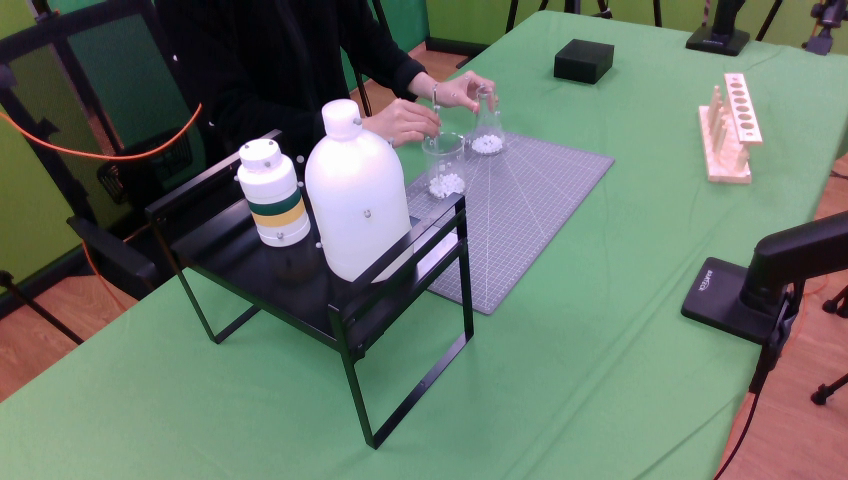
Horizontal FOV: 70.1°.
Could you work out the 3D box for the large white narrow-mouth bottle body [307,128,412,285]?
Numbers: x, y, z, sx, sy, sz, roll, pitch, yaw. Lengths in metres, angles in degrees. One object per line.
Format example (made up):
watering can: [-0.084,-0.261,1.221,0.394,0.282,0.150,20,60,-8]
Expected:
large white narrow-mouth bottle body: [-0.070,-0.051,0.638,0.102,0.195,0.101,-3,40,3]

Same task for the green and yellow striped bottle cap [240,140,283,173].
green and yellow striped bottle cap: [-0.183,-0.094,0.679,0.045,0.020,0.045,-4,38,4]

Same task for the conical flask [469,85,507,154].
conical flask: [0.120,-0.231,1.148,0.075,0.122,0.075,-4,41,4]

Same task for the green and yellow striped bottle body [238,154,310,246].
green and yellow striped bottle body: [-0.178,-0.056,0.714,0.063,0.120,0.063,-4,40,4]

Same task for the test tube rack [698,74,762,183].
test tube rack: [0.547,-0.208,1.094,0.066,0.085,0.242,5,42,15]

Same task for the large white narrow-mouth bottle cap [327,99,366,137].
large white narrow-mouth bottle cap: [-0.075,-0.118,0.582,0.038,0.024,0.037,-3,40,3]

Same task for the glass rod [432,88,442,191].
glass rod: [0.022,-0.163,1.009,0.008,0.200,0.008,-3,41,3]

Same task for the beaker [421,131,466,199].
beaker: [0.040,-0.130,1.060,0.084,0.100,0.073,-24,43,-20]
